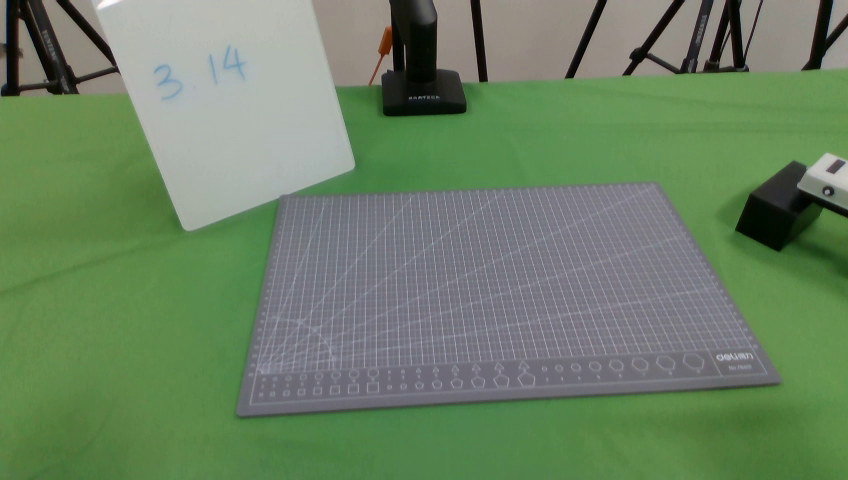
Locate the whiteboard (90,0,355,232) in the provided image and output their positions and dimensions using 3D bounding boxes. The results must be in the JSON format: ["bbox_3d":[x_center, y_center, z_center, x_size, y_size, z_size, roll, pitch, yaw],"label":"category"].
[{"bbox_3d":[-0.239,-0.202,0.691,0.217,0.308,0.142,-26,28,-27],"label":"whiteboard"}]

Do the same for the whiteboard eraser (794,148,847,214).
[{"bbox_3d":[0.432,-0.047,0.596,0.055,0.042,0.111,-31,50,-32],"label":"whiteboard eraser"}]
